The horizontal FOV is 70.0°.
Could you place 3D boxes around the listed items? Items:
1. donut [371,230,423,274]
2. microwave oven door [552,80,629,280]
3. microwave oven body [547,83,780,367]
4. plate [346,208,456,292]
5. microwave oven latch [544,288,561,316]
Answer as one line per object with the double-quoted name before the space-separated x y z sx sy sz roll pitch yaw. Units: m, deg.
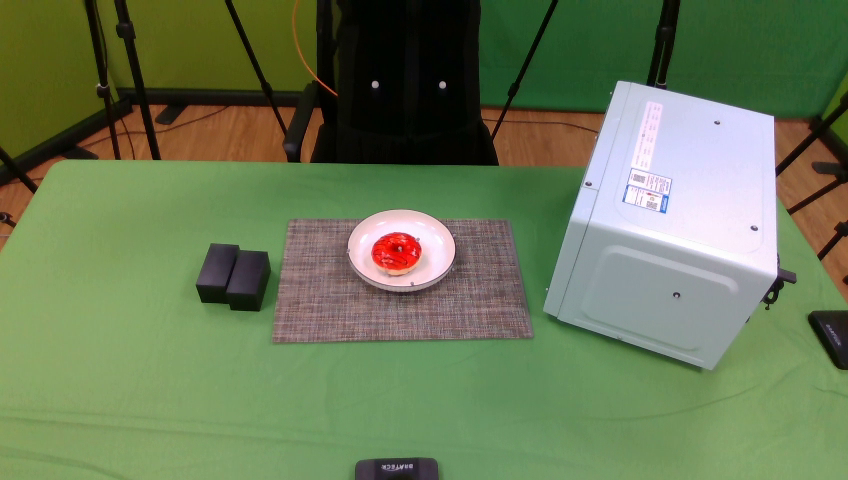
"donut" -0.051 0.022 1.142 0.099 0.048 0.098 0 45 0
"microwave oven door" 0.324 -0.116 1.156 0.039 0.245 0.354 18 48 13
"microwave oven body" 0.444 -0.041 1.101 0.325 0.261 0.440 17 47 13
"plate" -0.044 0.021 1.159 0.209 0.038 0.208 2 47 -2
"microwave oven latch" 0.237 0.098 1.087 0.030 0.029 0.079 17 47 14
